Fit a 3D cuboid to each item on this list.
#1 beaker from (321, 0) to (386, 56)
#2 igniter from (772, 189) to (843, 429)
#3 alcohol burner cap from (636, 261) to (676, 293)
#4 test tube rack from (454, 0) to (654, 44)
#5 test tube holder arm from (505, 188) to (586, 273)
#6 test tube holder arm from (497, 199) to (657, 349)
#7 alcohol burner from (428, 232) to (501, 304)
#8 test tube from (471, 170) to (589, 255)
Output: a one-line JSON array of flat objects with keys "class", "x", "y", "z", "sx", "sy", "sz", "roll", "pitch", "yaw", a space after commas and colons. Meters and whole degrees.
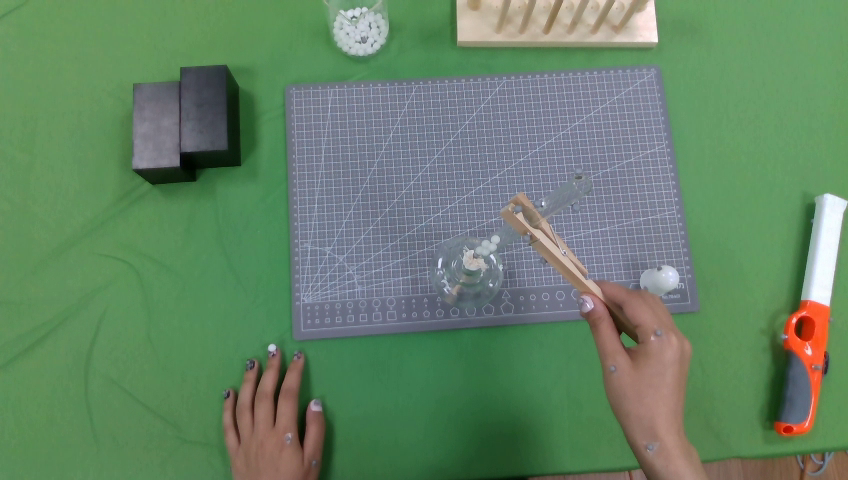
[{"class": "beaker", "x": -0.079, "y": -0.261, "z": 0.686, "sx": 0.074, "sy": 0.100, "sz": 0.083, "roll": -1, "pitch": 78, "yaw": -2}, {"class": "igniter", "x": 0.427, "y": 0.075, "z": 0.671, "sx": 0.057, "sy": 0.025, "sz": 0.275, "roll": 18, "pitch": 78, "yaw": -8}, {"class": "alcohol burner cap", "x": 0.256, "y": 0.039, "z": 0.662, "sx": 0.034, "sy": 0.048, "sz": 0.033, "roll": 0, "pitch": 77, "yaw": -2}, {"class": "test tube rack", "x": 0.158, "y": -0.281, "z": 0.706, "sx": 0.242, "sy": 0.085, "sz": 0.066, "roll": 0, "pitch": 78, "yaw": -2}, {"class": "test tube holder arm", "x": 0.098, "y": -0.005, "z": 0.487, "sx": 0.088, "sy": 0.015, "sz": 0.010, "roll": 50, "pitch": 56, "yaw": -7}, {"class": "test tube holder arm", "x": 0.126, "y": 0.031, "z": 0.492, "sx": 0.179, "sy": 0.015, "sz": 0.013, "roll": 43, "pitch": 58, "yaw": -12}, {"class": "alcohol burner", "x": 0.044, "y": 0.025, "z": 0.621, "sx": 0.078, "sy": 0.119, "sz": 0.077, "roll": 1, "pitch": 77, "yaw": -3}, {"class": "test tube", "x": 0.078, "y": -0.017, "z": 0.485, "sx": 0.017, "sy": 0.150, "sz": 0.017, "roll": 10, "pitch": 66, "yaw": -23}]
